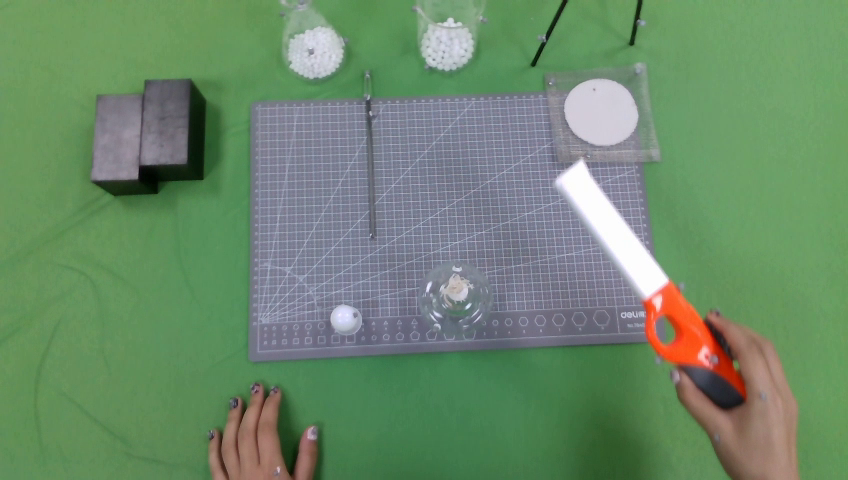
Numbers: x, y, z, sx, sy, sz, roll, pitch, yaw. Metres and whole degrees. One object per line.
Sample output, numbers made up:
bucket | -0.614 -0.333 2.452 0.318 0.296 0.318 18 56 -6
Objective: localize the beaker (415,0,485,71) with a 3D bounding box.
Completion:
beaker | 0.026 -0.248 0.687 0.074 0.100 0.083 0 76 -2

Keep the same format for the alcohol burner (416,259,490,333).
alcohol burner | 0.030 0.055 0.610 0.078 0.119 0.077 0 79 -1

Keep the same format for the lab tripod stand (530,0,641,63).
lab tripod stand | 0.184 -0.275 0.679 0.148 0.132 0.147 0 79 -1

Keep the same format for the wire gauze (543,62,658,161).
wire gauze | 0.208 -0.151 0.714 0.125 0.011 0.121 -3 78 -2

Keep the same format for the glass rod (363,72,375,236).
glass rod | -0.064 -0.102 0.694 0.008 0.008 0.198 -3 77 -2

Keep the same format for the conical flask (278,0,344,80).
conical flask | -0.131 -0.237 0.668 0.075 0.122 0.075 0 77 -1

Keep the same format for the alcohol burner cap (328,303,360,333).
alcohol burner cap | -0.086 0.081 0.637 0.034 0.048 0.033 0 78 -2

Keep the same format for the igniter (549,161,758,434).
igniter | 0.202 0.051 0.527 0.057 0.025 0.276 -37 91 -5
